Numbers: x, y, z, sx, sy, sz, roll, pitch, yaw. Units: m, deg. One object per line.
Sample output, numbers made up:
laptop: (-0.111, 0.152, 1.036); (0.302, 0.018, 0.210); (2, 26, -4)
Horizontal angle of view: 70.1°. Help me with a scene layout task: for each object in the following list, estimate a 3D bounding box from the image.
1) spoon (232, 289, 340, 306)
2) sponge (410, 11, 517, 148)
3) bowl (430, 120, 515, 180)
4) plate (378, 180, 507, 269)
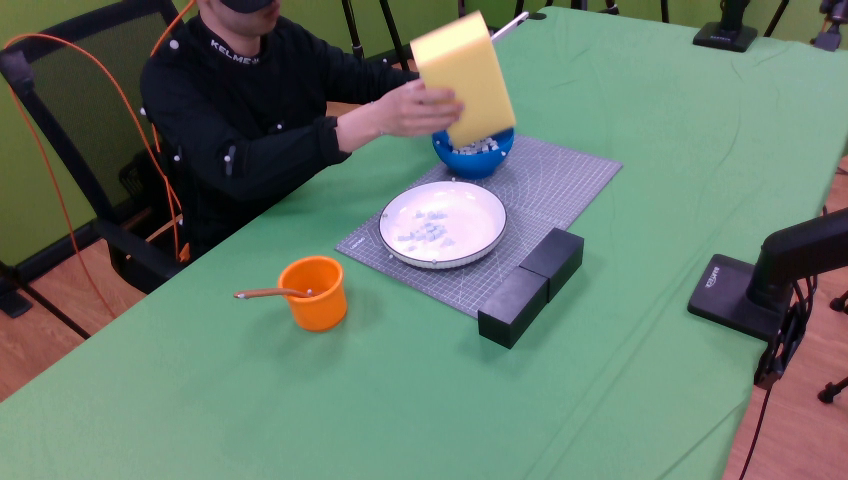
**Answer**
spoon: (-0.181, 0.074, 0.811); (0.041, 0.195, 0.021); (16, 90, 31)
sponge: (0.069, -0.255, 0.996); (0.118, 0.208, 0.060); (-22, 55, 8)
bowl: (0.090, -0.163, 1.098); (0.151, 0.077, 0.150); (-4, 41, 4)
plate: (0.031, -0.022, 0.974); (0.209, 0.038, 0.208); (-4, 40, 4)
